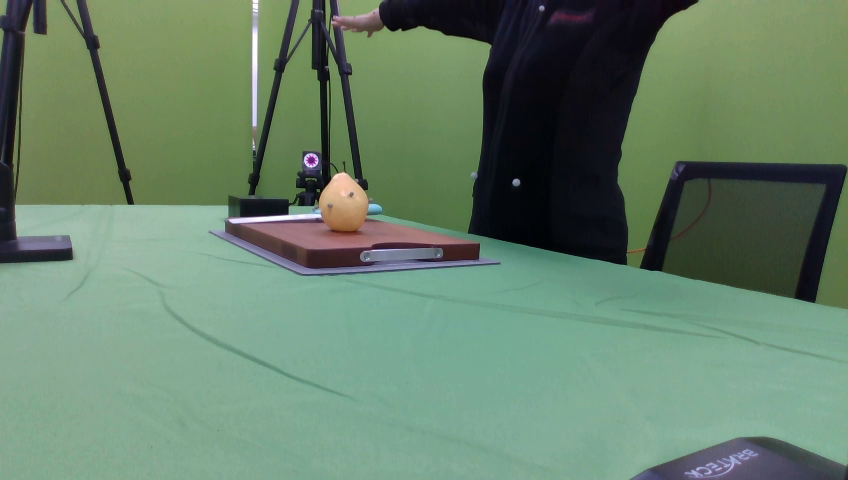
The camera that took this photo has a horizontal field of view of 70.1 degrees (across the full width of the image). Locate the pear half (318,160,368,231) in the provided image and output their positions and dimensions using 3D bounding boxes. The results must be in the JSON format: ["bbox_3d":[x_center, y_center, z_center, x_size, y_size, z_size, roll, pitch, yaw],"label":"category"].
[{"bbox_3d":[-0.120,-0.067,0.927,0.077,0.110,0.055,-7,11,-29],"label":"pear half"}]

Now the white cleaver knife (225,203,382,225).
[{"bbox_3d":[-0.202,-0.040,1.069,0.288,0.021,0.065,-8,17,-32],"label":"white cleaver knife"}]

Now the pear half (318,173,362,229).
[{"bbox_3d":[-0.136,-0.062,0.959,0.071,0.088,0.031,-7,11,-29],"label":"pear half"}]
